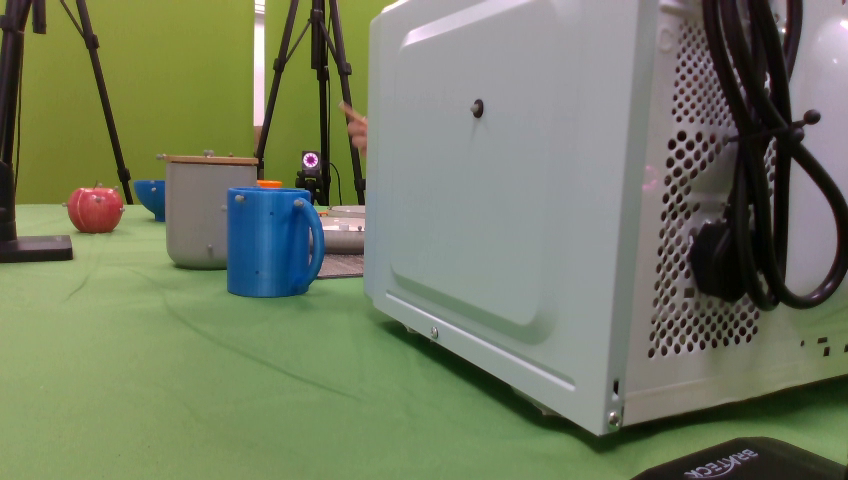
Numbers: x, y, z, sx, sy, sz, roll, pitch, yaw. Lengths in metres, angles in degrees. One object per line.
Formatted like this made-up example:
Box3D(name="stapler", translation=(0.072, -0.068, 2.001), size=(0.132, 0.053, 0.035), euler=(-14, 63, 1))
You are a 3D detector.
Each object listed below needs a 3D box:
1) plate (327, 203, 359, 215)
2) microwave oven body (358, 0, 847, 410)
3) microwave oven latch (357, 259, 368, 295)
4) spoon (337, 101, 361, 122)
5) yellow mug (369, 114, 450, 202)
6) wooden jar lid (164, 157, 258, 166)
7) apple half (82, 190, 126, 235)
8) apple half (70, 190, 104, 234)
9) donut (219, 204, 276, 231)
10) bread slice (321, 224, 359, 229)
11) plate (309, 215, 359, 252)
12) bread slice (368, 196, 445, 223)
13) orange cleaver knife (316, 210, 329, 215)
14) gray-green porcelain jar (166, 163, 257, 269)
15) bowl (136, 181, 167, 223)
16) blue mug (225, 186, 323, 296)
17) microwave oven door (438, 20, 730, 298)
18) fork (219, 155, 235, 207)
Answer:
Box3D(name="plate", translation=(-0.102, -0.053, 1.299), size=(0.209, 0.038, 0.209), euler=(2, 8, 0))
Box3D(name="microwave oven body", translation=(0.210, -0.051, 0.471), size=(0.444, 0.260, 0.324), euler=(-1, 7, -28))
Box3D(name="microwave oven latch", translation=(-0.019, 0.031, 0.529), size=(0.079, 0.029, 0.030), euler=(-1, 7, -26))
Box3D(name="spoon", translation=(-0.068, -0.157, 0.922), size=(0.193, 0.021, 0.042), euler=(46, 6, 20))
Box3D(name="yellow mug", translation=(-0.013, -0.124, 0.869), size=(0.064, 0.130, 0.100), euler=(49, 27, 21))
Box3D(name="wooden jar lid", translation=(-0.261, -0.093, 0.746), size=(0.108, 0.020, 0.108), euler=(0, 9, 0))
Box3D(name="apple half", translation=(-0.516, -0.046, 0.994), size=(0.032, 0.081, 0.081), euler=(0, 6, 26))
Box3D(name="apple half", translation=(-0.552, -0.047, 1.010), size=(0.053, 0.074, 0.081), euler=(0, 10, 26))
Box3D(name="donut", translation=(-0.316, -0.039, 1.083), size=(0.099, 0.048, 0.099), euler=(3, 7, 0))
Box3D(name="bread slice", translation=(-0.125, -0.009, 0.938), size=(0.131, 0.019, 0.105), euler=(6, 8, 32))
Box3D(name="plate", translation=(-0.130, -0.011, 0.945), size=(0.208, 0.039, 0.207), euler=(2, 8, 0))
Box3D(name="bread slice", translation=(-0.040, -0.057, 1.142), size=(0.107, 0.018, 0.133), euler=(-8, -8, -39))
Box3D(name="orange cleaver knife", translation=(-0.259, -0.064, 1.423), size=(0.212, 0.012, 0.077), euler=(-4, 3, -30))
Box3D(name="gray-green porcelain jar", translation=(-0.263, -0.031, 0.754), size=(0.106, 0.126, 0.106), euler=(2, 7, 0))
Box3D(name="bowl", translation=(-0.497, -0.076, 1.221), size=(0.151, 0.077, 0.151), euler=(2, 8, 0))
Box3D(name="blue mug", translation=(-0.148, 0.000, 0.618), size=(0.116, 0.106, 0.083), euler=(7, 9, 33))
Box3D(name="microwave oven door", translation=(0.181, -0.076, 0.618), size=(0.358, 0.243, 0.039), euler=(-2, 8, -28))
Box3D(name="fork", translation=(-0.459, -0.134, 1.415), size=(0.028, 0.018, 0.207), euler=(-1, -34, -25))
